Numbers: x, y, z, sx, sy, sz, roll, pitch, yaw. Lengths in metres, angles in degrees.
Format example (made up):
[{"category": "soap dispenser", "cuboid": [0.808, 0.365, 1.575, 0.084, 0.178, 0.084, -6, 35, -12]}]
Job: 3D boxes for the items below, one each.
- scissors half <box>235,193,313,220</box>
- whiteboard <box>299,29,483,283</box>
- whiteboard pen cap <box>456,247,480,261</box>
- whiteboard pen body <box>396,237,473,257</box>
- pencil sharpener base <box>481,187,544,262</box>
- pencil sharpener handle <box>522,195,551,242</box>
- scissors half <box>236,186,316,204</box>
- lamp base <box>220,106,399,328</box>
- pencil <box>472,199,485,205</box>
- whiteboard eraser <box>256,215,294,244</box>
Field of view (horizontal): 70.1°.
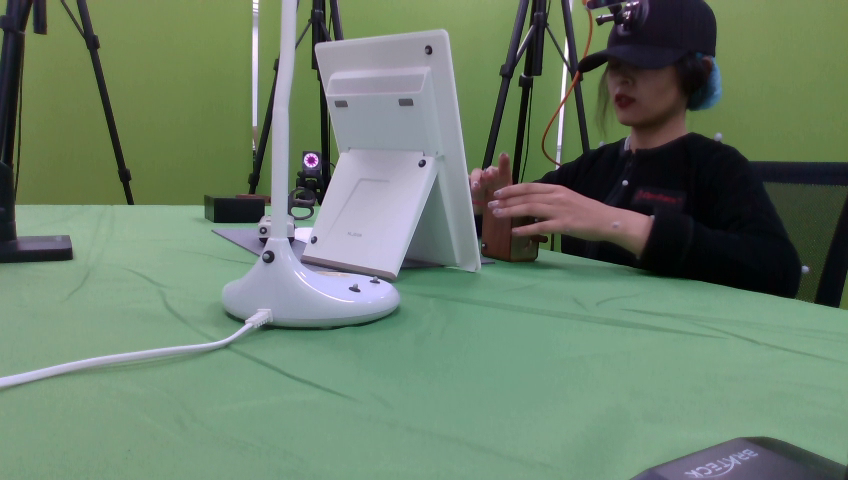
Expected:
[{"category": "scissors half", "cuboid": [-0.325, -0.077, 1.319, 0.176, 0.040, 0.012, 17, 6, -31]}, {"category": "whiteboard", "cuboid": [-0.074, -0.082, 0.742, 0.216, 0.305, 0.144, 9, 30, 38]}, {"category": "whiteboard pen cap", "cuboid": [0.061, 0.020, 0.851, 0.033, 0.018, 0.018, 9, 10, 37]}, {"category": "whiteboard pen body", "cuboid": [0.014, 0.012, 0.886, 0.140, 0.017, 0.017, 10, 10, 38]}, {"category": "pencil sharpener base", "cuboid": [0.134, -0.024, 0.913, 0.062, 0.107, 0.076, -2, 9, -35]}, {"category": "pencil sharpener handle", "cuboid": [0.167, -0.030, 0.872, 0.036, 0.068, 0.030, -18, 18, -31]}, {"category": "scissors half", "cuboid": [-0.320, -0.097, 1.316, 0.176, 0.040, 0.013, -3, 11, -29]}, {"category": "lamp base", "cuboid": [-0.101, -0.023, 0.531, 0.160, 0.180, 0.179, 4, 10, 10]}, {"category": "pencil", "cuboid": [0.093, -0.061, 0.975, 0.012, 0.012, 0.193, -3, 9, -35]}, {"category": "whiteboard eraser", "cuboid": [-0.232, -0.016, 0.951, 0.056, 0.042, 0.112, 2, 7, -12]}]
